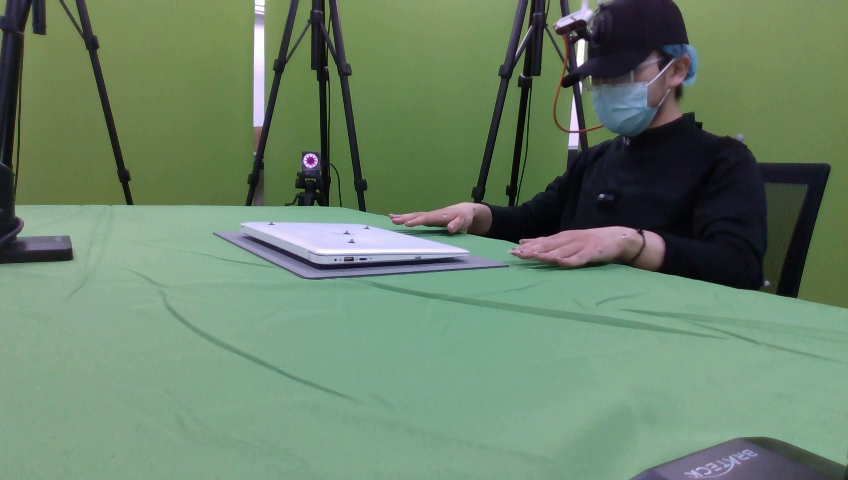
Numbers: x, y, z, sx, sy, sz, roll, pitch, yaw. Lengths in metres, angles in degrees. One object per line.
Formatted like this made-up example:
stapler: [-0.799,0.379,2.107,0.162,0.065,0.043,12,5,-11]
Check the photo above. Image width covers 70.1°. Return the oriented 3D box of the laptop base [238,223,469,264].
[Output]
laptop base: [-0.123,0.005,0.936,0.237,0.023,0.352,2,6,-33]

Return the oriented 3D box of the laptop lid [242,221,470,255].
laptop lid: [-0.121,-0.007,0.936,0.243,0.013,0.355,1,7,-31]
